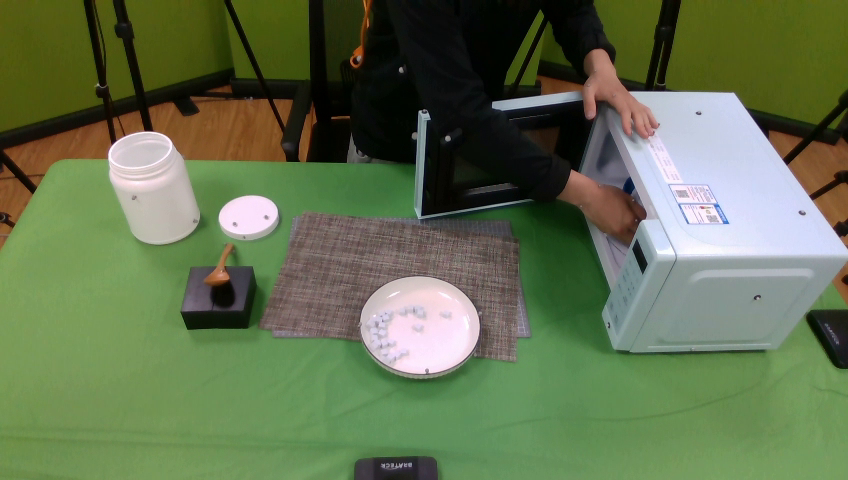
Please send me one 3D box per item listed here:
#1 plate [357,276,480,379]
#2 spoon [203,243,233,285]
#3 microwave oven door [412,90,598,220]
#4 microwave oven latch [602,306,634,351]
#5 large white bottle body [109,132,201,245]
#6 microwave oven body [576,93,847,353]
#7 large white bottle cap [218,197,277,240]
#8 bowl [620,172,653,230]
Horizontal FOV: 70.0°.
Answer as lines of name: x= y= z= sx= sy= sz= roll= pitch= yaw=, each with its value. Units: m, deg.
plate: x=-0.009 y=0.151 z=1.038 sx=0.209 sy=0.038 sz=0.208 roll=2 pitch=47 yaw=-2
spoon: x=-0.360 y=0.039 z=1.087 sx=0.041 sy=0.022 sz=0.192 roll=-5 pitch=24 yaw=-7
microwave oven door: x=0.156 y=-0.167 z=1.200 sx=0.356 sy=0.245 sz=0.039 roll=-10 pitch=47 yaw=-14
microwave oven latch: x=0.332 y=0.153 z=1.044 sx=0.030 sy=0.029 sz=0.078 roll=0 pitch=45 yaw=-4
large white bottle body: x=-0.506 y=-0.097 z=1.141 sx=0.131 sy=0.185 sz=0.130 roll=2 pitch=46 yaw=-2
microwave oven body: x=0.475 y=-0.042 z=1.109 sx=0.326 sy=0.261 sz=0.438 roll=-1 pitch=45 yaw=-4
large white bottle cap: x=-0.354 y=-0.045 z=1.220 sx=0.115 sy=0.018 sz=0.114 roll=2 pitch=45 yaw=-1
bowl: x=0.445 y=-0.057 z=1.166 sx=0.151 sy=0.077 sz=0.150 roll=2 pitch=48 yaw=-2
